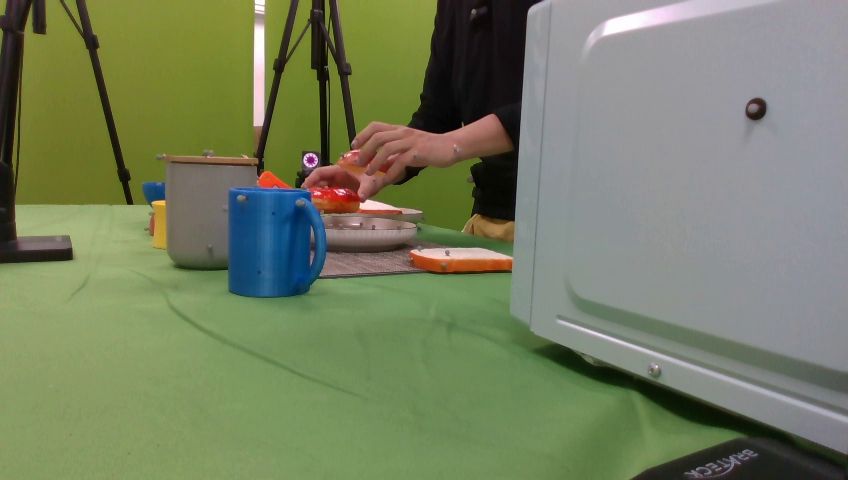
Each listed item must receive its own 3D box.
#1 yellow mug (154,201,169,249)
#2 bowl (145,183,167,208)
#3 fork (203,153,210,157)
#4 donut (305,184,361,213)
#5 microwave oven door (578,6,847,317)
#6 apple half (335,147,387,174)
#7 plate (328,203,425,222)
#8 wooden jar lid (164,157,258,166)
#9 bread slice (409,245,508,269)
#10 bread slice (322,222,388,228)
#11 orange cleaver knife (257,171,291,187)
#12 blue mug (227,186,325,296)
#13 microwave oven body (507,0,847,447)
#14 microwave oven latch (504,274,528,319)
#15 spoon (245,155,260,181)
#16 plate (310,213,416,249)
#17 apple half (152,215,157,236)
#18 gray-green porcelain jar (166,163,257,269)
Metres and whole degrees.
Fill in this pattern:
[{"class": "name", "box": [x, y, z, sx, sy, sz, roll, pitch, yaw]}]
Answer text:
[{"class": "yellow mug", "box": [-0.337, -0.022, 0.899, 0.130, 0.064, 0.100, 8, 9, 34]}, {"class": "bowl", "box": [-0.459, -0.069, 1.175, 0.151, 0.077, 0.151, 2, 7, 0]}, {"class": "fork", "box": [-0.480, -0.135, 1.411, 0.028, 0.018, 0.207, 1, -34, -1]}, {"class": "donut", "box": [-0.151, -0.066, 0.972, 0.099, 0.048, 0.099, 0, 4, 0]}, {"class": "microwave oven door", "box": [0.294, -0.067, 0.570, 0.358, 0.243, 0.039, -3, 9, -31]}, {"class": "apple half", "box": [-0.091, -0.122, 0.910, 0.081, 0.033, 0.081, 10, 0, 0]}, {"class": "plate", "box": [-0.102, -0.053, 1.299, 0.209, 0.038, 0.209, 2, 8, 0]}, {"class": "wooden jar lid", "box": [-0.261, -0.093, 0.746, 0.108, 0.020, 0.108, 0, 9, 0]}, {"class": "bread slice", "box": [0.048, 0.021, 0.816, 0.132, 0.019, 0.104, -1, 7, -23]}, {"class": "bread slice", "box": [-0.120, -0.015, 0.971, 0.106, 0.018, 0.135, 10, 9, 42]}, {"class": "orange cleaver knife", "box": [-0.283, -0.087, 1.343, 0.212, 0.077, 0.012, 24, -16, -41]}, {"class": "blue mug", "box": [-0.146, 0.000, 0.618, 0.116, 0.106, 0.083, 7, 9, 32]}, {"class": "microwave oven body", "box": [0.331, -0.042, 0.425, 0.444, 0.260, 0.324, -2, 8, -31]}, {"class": "microwave oven latch", "box": [0.100, 0.041, 0.471, 0.079, 0.029, 0.030, -1, 7, -28]}, {"class": "spoon", "box": [-0.421, -0.150, 1.540, 0.042, 0.021, 0.193, -5, 55, -37]}, {"class": "plate", "box": [-0.116, -0.014, 0.968, 0.208, 0.039, 0.207, 2, 8, 0]}, {"class": "apple half", "box": [-0.415, -0.034, 1.017, 0.081, 0.053, 0.074, 1, 10, -9]}, {"class": "gray-green porcelain jar", "box": [-0.263, -0.031, 0.754, 0.106, 0.126, 0.106, 2, 7, 0]}]
